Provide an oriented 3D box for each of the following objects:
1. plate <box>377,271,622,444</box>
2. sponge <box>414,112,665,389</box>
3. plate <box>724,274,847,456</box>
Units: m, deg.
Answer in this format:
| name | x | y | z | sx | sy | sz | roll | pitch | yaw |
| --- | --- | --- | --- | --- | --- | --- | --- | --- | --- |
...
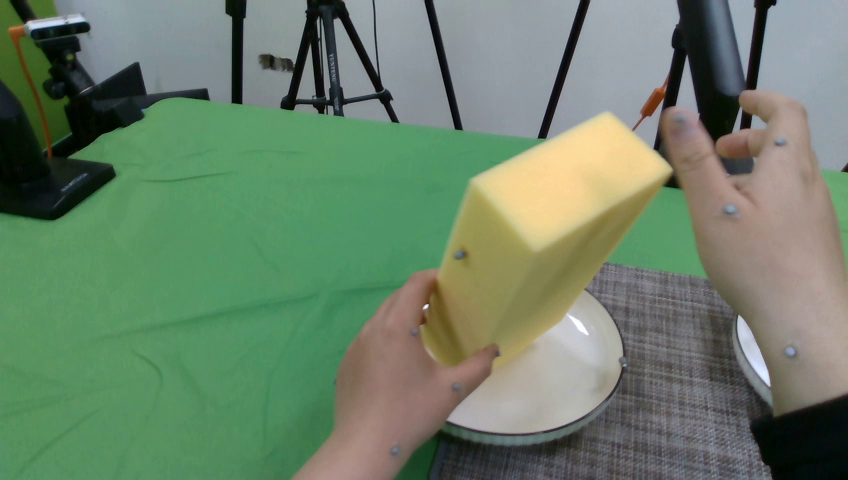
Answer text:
| name | x | y | z | sx | sy | sz | roll | pitch | yaw |
| --- | --- | --- | --- | --- | --- | --- | --- | --- | --- |
| plate | 0.064 | 0.095 | 0.531 | 0.209 | 0.038 | 0.207 | 0 | 36 | 0 |
| sponge | 0.070 | 0.019 | 0.440 | 0.118 | 0.208 | 0.060 | -28 | 65 | -27 |
| plate | 0.361 | 0.108 | 0.510 | 0.208 | 0.039 | 0.205 | 0 | 36 | 0 |
